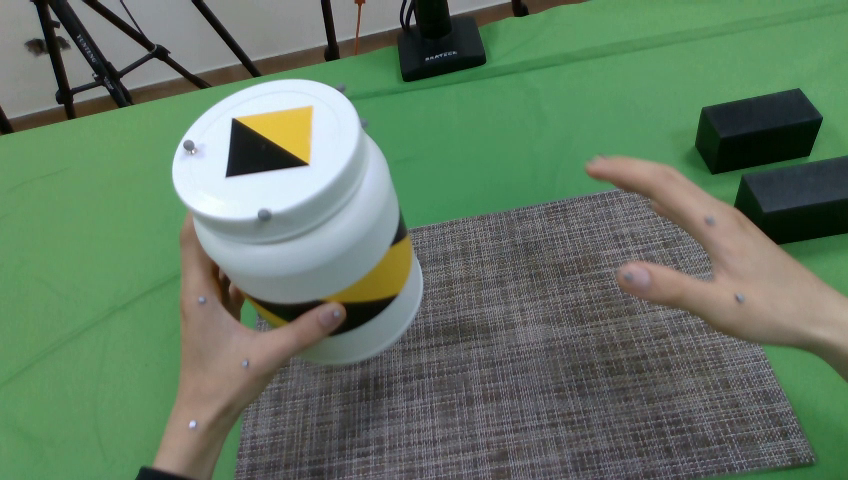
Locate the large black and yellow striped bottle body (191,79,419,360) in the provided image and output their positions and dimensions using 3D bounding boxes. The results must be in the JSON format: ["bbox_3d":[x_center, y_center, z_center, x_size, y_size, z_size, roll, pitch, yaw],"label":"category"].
[{"bbox_3d":[-0.081,-0.008,0.433,0.130,0.186,0.129,-5,55,8],"label":"large black and yellow striped bottle body"}]

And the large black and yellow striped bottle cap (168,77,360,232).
[{"bbox_3d":[-0.096,-0.055,0.366,0.115,0.019,0.114,-4,55,6],"label":"large black and yellow striped bottle cap"}]
